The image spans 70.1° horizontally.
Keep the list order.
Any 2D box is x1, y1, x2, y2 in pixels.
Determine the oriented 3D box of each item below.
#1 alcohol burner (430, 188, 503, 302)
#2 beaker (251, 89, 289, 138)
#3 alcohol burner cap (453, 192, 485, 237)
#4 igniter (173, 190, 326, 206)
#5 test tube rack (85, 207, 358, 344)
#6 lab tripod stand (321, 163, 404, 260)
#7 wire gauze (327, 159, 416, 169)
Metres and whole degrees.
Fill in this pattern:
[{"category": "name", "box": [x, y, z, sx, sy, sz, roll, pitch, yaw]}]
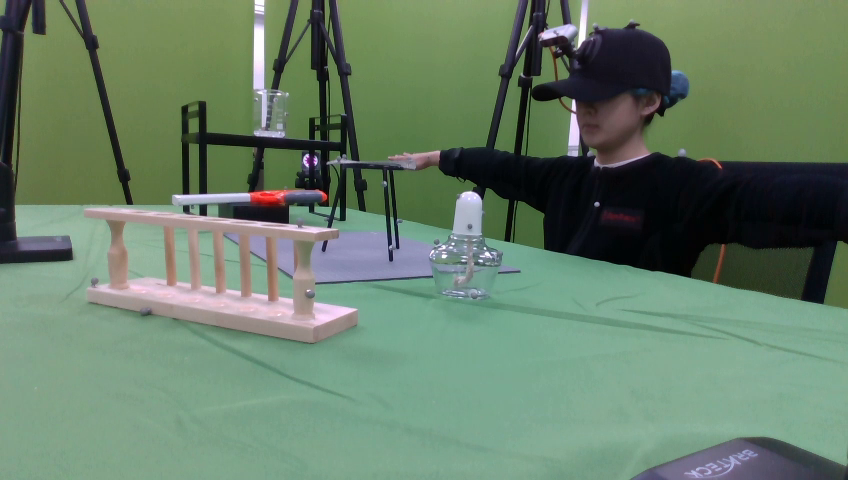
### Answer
[{"category": "alcohol burner", "box": [0.046, 0.005, 0.634, 0.078, 0.119, 0.078, 5, 7, 0]}, {"category": "beaker", "box": [-0.334, -0.273, 1.316, 0.084, 0.100, 0.074, 5, 8, 15]}, {"category": "alcohol burner cap", "box": [0.049, -0.026, 0.629, 0.034, 0.048, 0.034, 3, 6, 0]}, {"category": "igniter", "box": [-0.317, -0.079, 1.128, 0.278, 0.025, 0.057, -4, 13, -32]}, {"category": "test tube rack", "box": [-0.177, 0.022, 0.518, 0.241, 0.085, 0.067, 6, 7, 23]}, {"category": "lab tripod stand", "box": [-0.076, -0.045, 0.884, 0.148, 0.131, 0.148, 2, 5, 0]}, {"category": "wire gauze", "box": [-0.072, -0.111, 0.872, 0.121, 0.011, 0.125, 3, 5, -2]}]
